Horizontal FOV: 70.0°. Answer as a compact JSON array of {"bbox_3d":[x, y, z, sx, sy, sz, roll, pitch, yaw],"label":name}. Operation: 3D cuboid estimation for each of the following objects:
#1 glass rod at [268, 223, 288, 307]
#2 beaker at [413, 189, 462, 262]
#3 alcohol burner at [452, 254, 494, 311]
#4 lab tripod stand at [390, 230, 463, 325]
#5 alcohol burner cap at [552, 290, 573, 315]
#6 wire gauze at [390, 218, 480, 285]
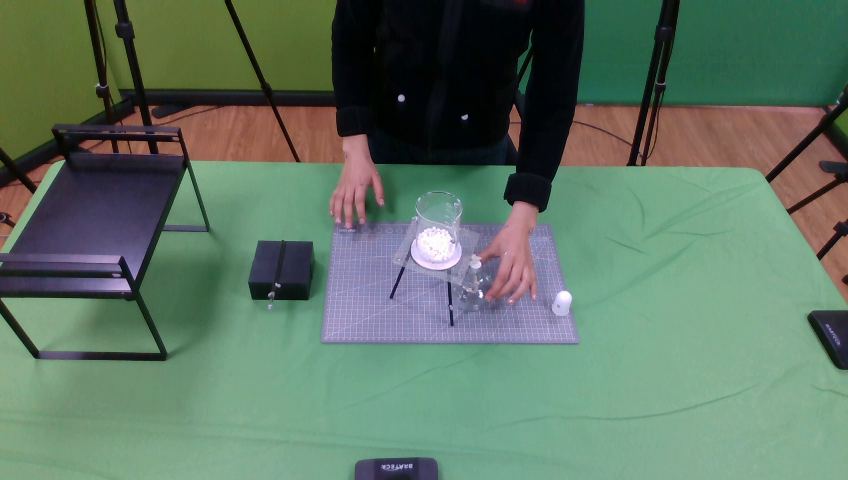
[{"bbox_3d":[-0.259,0.041,1.080,0.008,0.008,0.198,2,46,-2],"label":"glass rod"},{"bbox_3d":[0.022,-0.018,0.973,0.074,0.101,0.083,-19,51,-19],"label":"beaker"},{"bbox_3d":[0.085,0.069,1.066,0.078,0.120,0.077,1,46,0],"label":"alcohol burner"},{"bbox_3d":[0.014,0.060,1.056,0.148,0.132,0.147,1,48,-1],"label":"lab tripod stand"},{"bbox_3d":[0.251,0.109,1.088,0.034,0.048,0.033,2,47,-2],"label":"alcohol burner cap"},{"bbox_3d":[0.020,0.013,1.010,0.125,0.011,0.121,15,46,14],"label":"wire gauze"}]
